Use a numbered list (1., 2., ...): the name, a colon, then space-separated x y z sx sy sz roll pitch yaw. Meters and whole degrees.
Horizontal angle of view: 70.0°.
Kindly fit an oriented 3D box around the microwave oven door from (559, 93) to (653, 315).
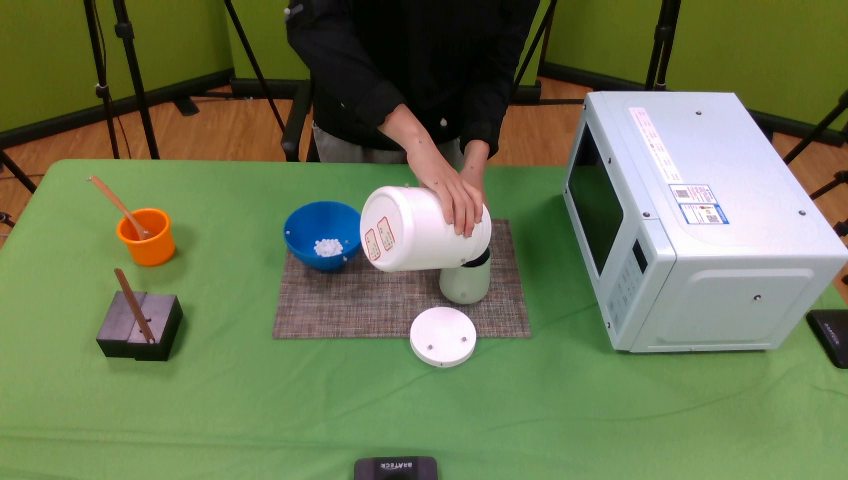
1. microwave oven door: 0.327 -0.074 1.123 0.039 0.245 0.353 -1 46 -5

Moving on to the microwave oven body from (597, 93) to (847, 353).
1. microwave oven body: 0.475 -0.041 1.109 0.326 0.261 0.438 -1 45 -4

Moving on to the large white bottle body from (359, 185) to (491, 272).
1. large white bottle body: 0.006 -0.018 0.965 0.185 0.131 0.129 -1 41 -39

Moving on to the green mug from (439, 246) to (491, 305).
1. green mug: 0.072 0.044 1.101 0.092 0.105 0.124 -6 47 -9

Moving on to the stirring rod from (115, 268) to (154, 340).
1. stirring rod: -0.479 0.102 0.999 0.014 0.006 0.175 8 32 -49

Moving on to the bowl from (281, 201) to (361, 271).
1. bowl: -0.187 0.005 1.137 0.151 0.077 0.150 3 46 -3

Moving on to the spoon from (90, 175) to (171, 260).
1. spoon: -0.539 -0.042 1.111 0.041 0.194 0.021 -46 19 -32

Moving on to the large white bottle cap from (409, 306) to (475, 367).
1. large white bottle cap: 0.031 0.164 1.040 0.115 0.018 0.114 3 50 -3

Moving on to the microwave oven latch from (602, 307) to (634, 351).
1. microwave oven latch: 0.332 0.153 1.044 0.030 0.029 0.078 -1 45 -4
